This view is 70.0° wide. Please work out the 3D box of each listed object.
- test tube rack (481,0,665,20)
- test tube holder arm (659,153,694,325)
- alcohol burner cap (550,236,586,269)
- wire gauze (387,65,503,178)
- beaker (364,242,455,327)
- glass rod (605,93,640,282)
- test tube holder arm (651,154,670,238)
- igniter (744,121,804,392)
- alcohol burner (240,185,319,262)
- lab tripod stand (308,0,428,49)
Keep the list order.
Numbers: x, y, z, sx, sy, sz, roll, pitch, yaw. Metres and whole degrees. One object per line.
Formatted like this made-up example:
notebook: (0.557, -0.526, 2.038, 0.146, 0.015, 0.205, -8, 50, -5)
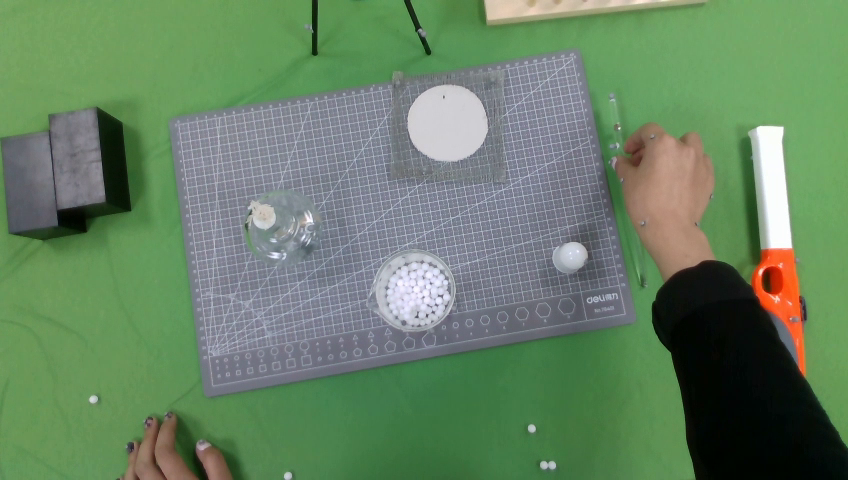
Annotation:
test tube rack: (0.181, -0.290, 0.624, 0.242, 0.085, 0.066, -6, 83, 0)
test tube holder arm: (0.260, -0.002, 0.625, 0.013, 0.015, 0.178, -12, 82, 36)
alcohol burner cap: (0.148, 0.011, 0.613, 0.034, 0.048, 0.034, 0, 84, 2)
wire gauze: (0.023, -0.128, 0.646, 0.125, 0.011, 0.121, 1, 85, 0)
beaker: (-0.012, 0.047, 0.583, 0.084, 0.100, 0.074, -18, 83, 0)
glass rod: (0.208, -0.055, 0.633, 0.008, 0.008, 0.199, -9, 90, 0)
test tube holder arm: (0.250, -0.045, 0.633, 0.010, 0.015, 0.087, -11, 83, 36)
igniter: (0.356, 0.014, 0.619, 0.057, 0.025, 0.276, -1, 84, -9)
alcohol burner: (-0.144, -0.018, 0.584, 0.078, 0.119, 0.077, 0, 83, 4)
lab tripod stand: (-0.062, -0.251, 0.600, 0.148, 0.131, 0.148, 0, 86, 1)
